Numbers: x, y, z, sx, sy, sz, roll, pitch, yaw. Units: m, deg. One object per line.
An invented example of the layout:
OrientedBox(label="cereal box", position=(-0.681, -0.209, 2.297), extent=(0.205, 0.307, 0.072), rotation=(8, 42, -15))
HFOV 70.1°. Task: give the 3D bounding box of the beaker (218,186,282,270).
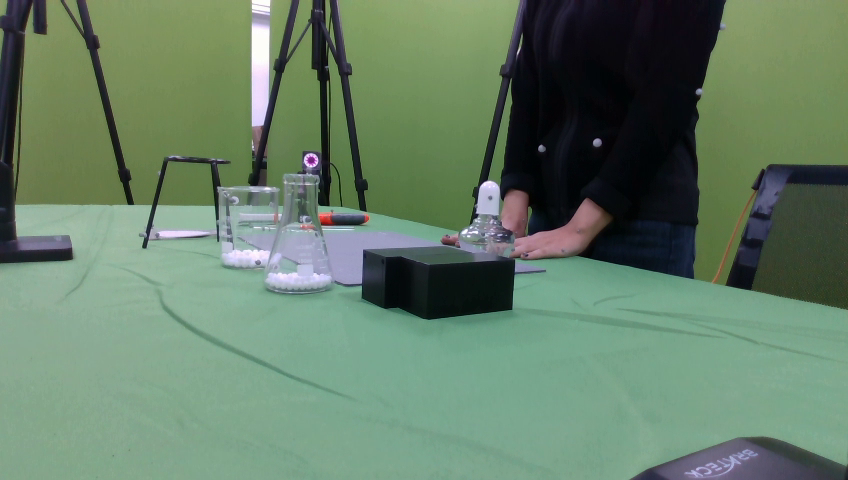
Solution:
OrientedBox(label="beaker", position=(-0.222, -0.017, 0.758), extent=(0.084, 0.100, 0.074), rotation=(4, 7, 19))

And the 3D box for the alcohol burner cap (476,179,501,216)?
OrientedBox(label="alcohol burner cap", position=(0.086, -0.056, 0.801), extent=(0.034, 0.048, 0.034), rotation=(4, 2, 0))

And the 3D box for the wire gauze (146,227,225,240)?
OrientedBox(label="wire gauze", position=(-0.400, -0.012, 1.019), extent=(0.122, 0.011, 0.124), rotation=(-1, 6, -26))

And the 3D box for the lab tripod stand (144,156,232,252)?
OrientedBox(label="lab tripod stand", position=(-0.325, -0.054, 0.881), extent=(0.148, 0.131, 0.148), rotation=(4, 7, 0))

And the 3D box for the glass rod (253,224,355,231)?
OrientedBox(label="glass rod", position=(-0.226, -0.023, 1.162), extent=(0.201, 0.008, 0.008), rotation=(1, 6, -29))

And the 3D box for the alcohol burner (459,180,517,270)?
OrientedBox(label="alcohol burner", position=(0.086, -0.021, 0.806), extent=(0.078, 0.119, 0.078), rotation=(3, 9, 0))

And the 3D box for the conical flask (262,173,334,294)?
OrientedBox(label="conical flask", position=(-0.131, -0.009, 0.633), extent=(0.075, 0.122, 0.075), rotation=(2, 8, 0))

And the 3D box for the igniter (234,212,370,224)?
OrientedBox(label="igniter", position=(-0.247, -0.046, 1.253), extent=(0.278, 0.025, 0.057), rotation=(-1, -3, -27))
